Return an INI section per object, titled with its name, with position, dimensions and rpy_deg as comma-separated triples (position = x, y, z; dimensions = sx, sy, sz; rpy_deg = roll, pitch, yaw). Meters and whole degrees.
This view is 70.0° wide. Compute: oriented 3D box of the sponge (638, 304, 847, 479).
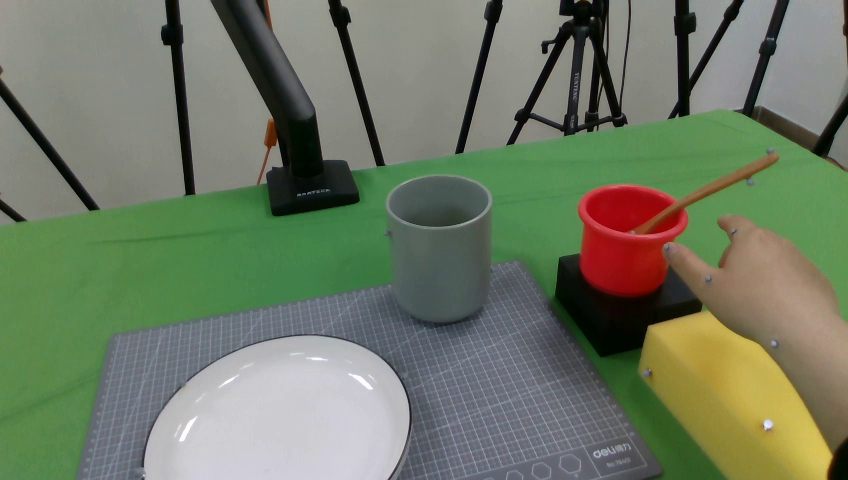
[sponge]
position = 0.284, 0.146, 0.480
dimensions = 0.118, 0.061, 0.204
rpy_deg = -12, 35, -15

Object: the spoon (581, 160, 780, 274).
[spoon]
position = 0.231, -0.019, 0.562
dimensions = 0.194, 0.022, 0.041
rpy_deg = -37, 21, 30

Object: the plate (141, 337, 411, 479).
[plate]
position = -0.113, 0.162, 0.490
dimensions = 0.208, 0.039, 0.205
rpy_deg = -1, 34, 1

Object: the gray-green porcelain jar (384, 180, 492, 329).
[gray-green porcelain jar]
position = 0.016, 0.018, 0.618
dimensions = 0.106, 0.127, 0.105
rpy_deg = -1, 34, 1
